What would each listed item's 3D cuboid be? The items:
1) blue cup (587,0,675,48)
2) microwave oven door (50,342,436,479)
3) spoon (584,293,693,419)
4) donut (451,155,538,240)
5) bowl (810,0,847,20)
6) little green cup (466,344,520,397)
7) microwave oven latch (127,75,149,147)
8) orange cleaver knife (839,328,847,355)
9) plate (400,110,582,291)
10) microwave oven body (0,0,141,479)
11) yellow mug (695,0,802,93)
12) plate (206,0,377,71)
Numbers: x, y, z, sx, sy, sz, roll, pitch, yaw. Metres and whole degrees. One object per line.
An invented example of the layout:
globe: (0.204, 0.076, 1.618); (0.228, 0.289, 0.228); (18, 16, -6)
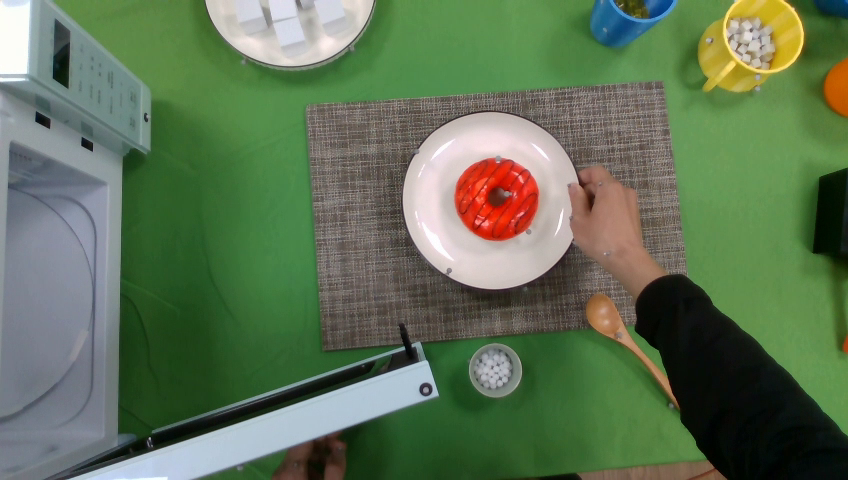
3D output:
blue cup: (0.240, -0.278, 0.727); (0.093, 0.100, 0.092); (0, 85, -3)
microwave oven door: (-0.165, 0.175, 0.576); (0.356, 0.244, 0.039); (-18, 84, -4)
spoon: (0.257, 0.141, 0.722); (0.041, 0.021, 0.193); (-41, 89, -21)
donut: (0.081, -0.048, 0.692); (0.099, 0.048, 0.099); (0, 87, 0)
bowl: (0.539, -0.335, 0.756); (0.151, 0.077, 0.151); (0, 85, -2)
little green cup: (0.078, 0.151, 0.708); (0.061, 0.039, 0.061); (0, 82, -1)
microwave oven latch: (-0.337, -0.149, 0.702); (0.030, 0.029, 0.079); (0, 85, -3)
orange cleaver knife: (0.534, 0.036, 0.717); (0.012, 0.077, 0.212); (10, 113, 1)
plate: (0.076, -0.045, 0.703); (0.209, 0.038, 0.208); (0, 86, -2)
microwave oven body: (-0.477, 0.019, 0.583); (0.326, 0.260, 0.440); (-1, 85, -3)
yellow mug: (0.387, -0.230, 0.745); (0.100, 0.064, 0.131); (43, 85, 3)
plate: (-0.159, -0.304, 0.744); (0.208, 0.039, 0.207); (0, 84, -2)
